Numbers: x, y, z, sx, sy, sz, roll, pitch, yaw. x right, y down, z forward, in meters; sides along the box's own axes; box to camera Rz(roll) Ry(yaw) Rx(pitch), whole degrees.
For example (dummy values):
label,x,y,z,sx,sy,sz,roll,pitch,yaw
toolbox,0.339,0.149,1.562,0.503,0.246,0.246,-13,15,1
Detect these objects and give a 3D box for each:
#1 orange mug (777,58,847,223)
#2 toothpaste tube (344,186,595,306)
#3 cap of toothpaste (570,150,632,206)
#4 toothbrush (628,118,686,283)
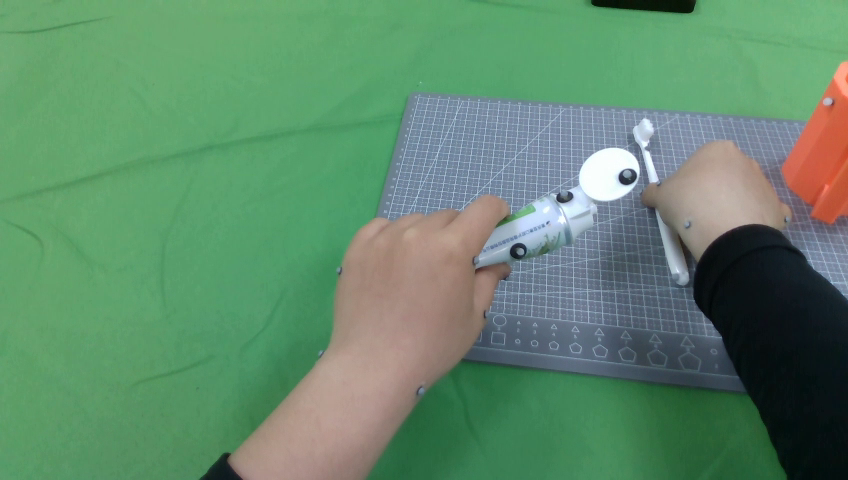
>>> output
label,x,y,z,sx,sy,sz,roll,pitch,yaw
orange mug,0.339,-0.073,0.475,0.083,0.102,0.126,28,51,23
toothpaste tube,0.030,0.009,0.381,0.165,0.055,0.034,-23,78,3
cap of toothpaste,0.106,-0.036,0.360,0.037,0.011,0.037,-14,60,26
toothbrush,0.193,-0.040,0.502,0.014,0.017,0.180,15,49,-14
